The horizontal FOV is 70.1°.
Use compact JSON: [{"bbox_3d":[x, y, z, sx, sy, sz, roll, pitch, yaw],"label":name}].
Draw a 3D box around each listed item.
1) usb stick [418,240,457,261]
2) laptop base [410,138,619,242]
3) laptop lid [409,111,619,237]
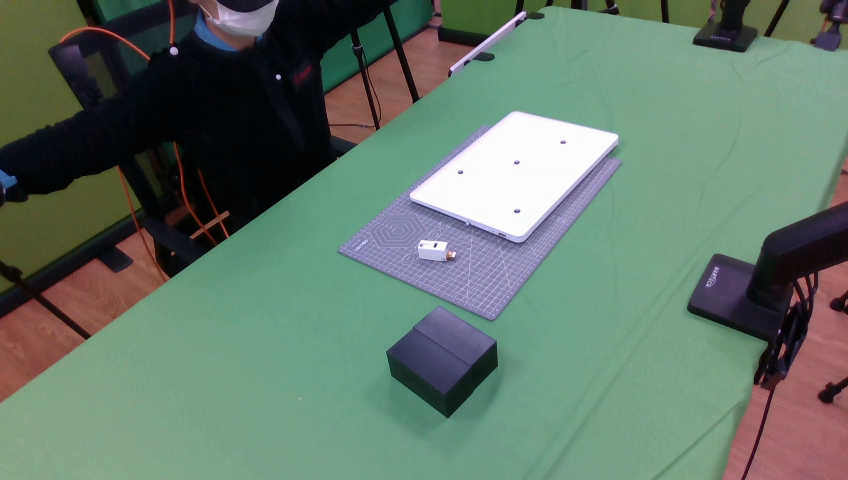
[{"bbox_3d":[0.021,0.017,0.938,0.059,0.027,0.021,8,42,13],"label":"usb stick"},{"bbox_3d":[0.170,-0.127,1.096,0.233,0.023,0.355,21,47,34],"label":"laptop base"},{"bbox_3d":[0.167,-0.137,1.089,0.239,0.013,0.358,24,48,34],"label":"laptop lid"}]
